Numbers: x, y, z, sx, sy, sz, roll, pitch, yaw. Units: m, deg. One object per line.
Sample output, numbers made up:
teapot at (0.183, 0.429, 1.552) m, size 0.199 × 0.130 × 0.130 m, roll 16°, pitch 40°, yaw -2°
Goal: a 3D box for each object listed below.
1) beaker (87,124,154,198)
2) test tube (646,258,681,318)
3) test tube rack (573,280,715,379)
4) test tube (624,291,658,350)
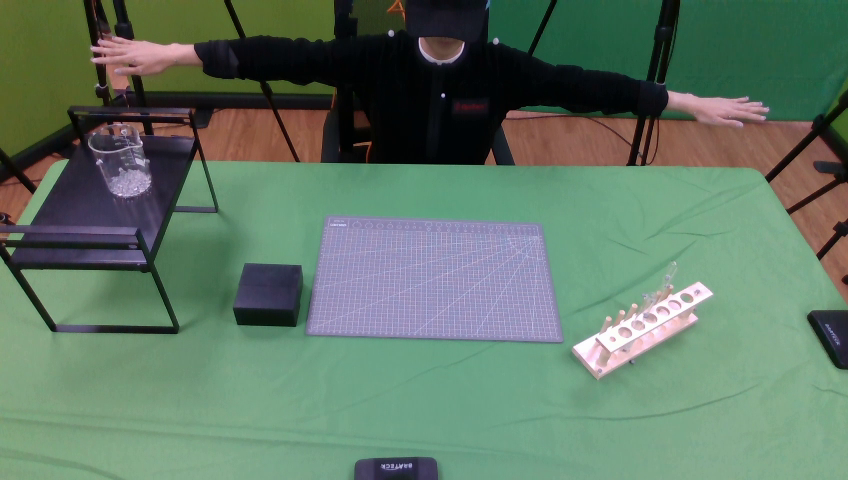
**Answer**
beaker at (-0.482, -0.124, 0.978) m, size 0.084 × 0.101 × 0.073 m, roll 9°, pitch 46°, yaw 4°
test tube at (0.406, 0.084, 1.032) m, size 0.017 × 0.151 × 0.017 m, roll 1°, pitch 47°, yaw -1°
test tube rack at (0.378, 0.140, 1.038) m, size 0.242 × 0.085 × 0.066 m, roll -22°, pitch 51°, yaw -23°
test tube at (0.348, 0.133, 0.974) m, size 0.017 × 0.151 × 0.017 m, roll 1°, pitch 47°, yaw -1°
